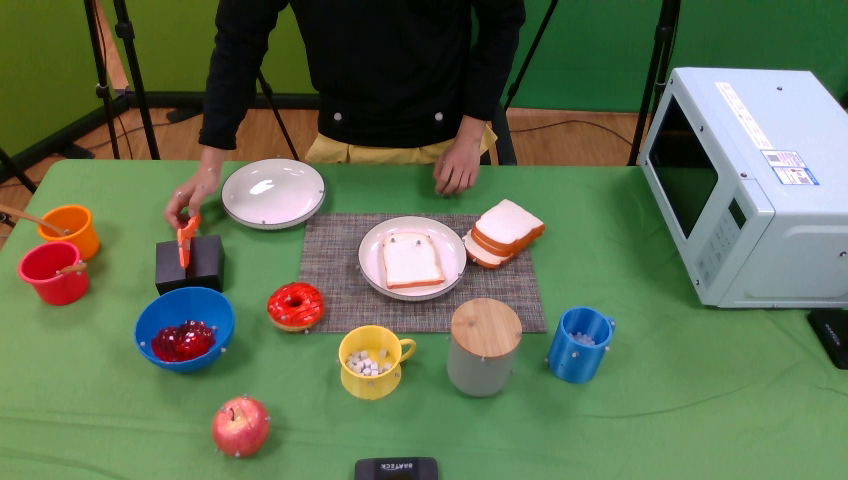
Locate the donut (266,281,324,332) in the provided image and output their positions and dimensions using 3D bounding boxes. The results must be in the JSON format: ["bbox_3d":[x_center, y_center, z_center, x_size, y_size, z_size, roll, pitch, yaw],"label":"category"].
[{"bbox_3d":[-0.222,0.114,1.049,0.099,0.048,0.098,2,45,-2],"label":"donut"}]

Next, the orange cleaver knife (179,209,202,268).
[{"bbox_3d":[-0.432,-0.007,1.127,0.012,0.077,0.210,-6,18,-10],"label":"orange cleaver knife"}]

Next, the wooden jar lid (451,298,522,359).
[{"bbox_3d":[0.093,0.135,0.914,0.108,0.021,0.107,3,48,-3],"label":"wooden jar lid"}]

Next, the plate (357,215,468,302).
[{"bbox_3d":[-0.022,0.037,1.141,0.208,0.039,0.206,2,46,-2],"label":"plate"}]

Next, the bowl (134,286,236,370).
[{"bbox_3d":[-0.377,0.155,0.981,0.151,0.077,0.150,2,46,-2],"label":"bowl"}]

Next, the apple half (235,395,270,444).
[{"bbox_3d":[-0.245,0.259,0.893,0.033,0.082,0.081,-29,55,-22],"label":"apple half"}]

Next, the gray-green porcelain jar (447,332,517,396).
[{"bbox_3d":[0.091,0.178,0.960,0.106,0.127,0.105,2,46,-2],"label":"gray-green porcelain jar"}]

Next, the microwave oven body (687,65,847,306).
[{"bbox_3d":[0.669,-0.111,1.176,0.326,0.261,0.439,0,46,-3],"label":"microwave oven body"}]

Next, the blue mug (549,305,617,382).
[{"bbox_3d":[0.269,0.166,0.998,0.116,0.106,0.082,-19,51,-21],"label":"blue mug"}]

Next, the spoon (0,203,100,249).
[{"bbox_3d":[-0.683,-0.031,1.088,0.021,0.195,0.041,-35,43,25],"label":"spoon"}]

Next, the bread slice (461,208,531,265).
[{"bbox_3d":[0.133,-0.005,1.193,0.104,0.019,0.131,30,51,23],"label":"bread slice"}]

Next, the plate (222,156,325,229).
[{"bbox_3d":[-0.308,-0.095,1.251,0.209,0.038,0.208,3,47,-3],"label":"plate"}]

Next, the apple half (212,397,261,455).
[{"bbox_3d":[-0.276,0.276,0.877,0.053,0.075,0.080,-29,58,-21],"label":"apple half"}]

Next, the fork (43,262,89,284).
[{"bbox_3d":[-0.599,0.053,1.013,0.207,0.019,0.028,-14,30,45],"label":"fork"}]

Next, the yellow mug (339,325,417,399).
[{"bbox_3d":[-0.072,0.190,0.978,0.131,0.064,0.099,-17,50,-20],"label":"yellow mug"}]

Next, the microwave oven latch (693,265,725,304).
[{"bbox_3d":[0.522,0.081,1.115,0.030,0.029,0.078,2,46,-1],"label":"microwave oven latch"}]

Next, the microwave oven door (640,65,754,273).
[{"bbox_3d":[0.523,-0.147,1.193,0.039,0.245,0.353,0,47,-3],"label":"microwave oven door"}]

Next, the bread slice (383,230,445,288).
[{"bbox_3d":[-0.028,0.035,1.145,0.107,0.018,0.133,-7,48,-11],"label":"bread slice"}]
